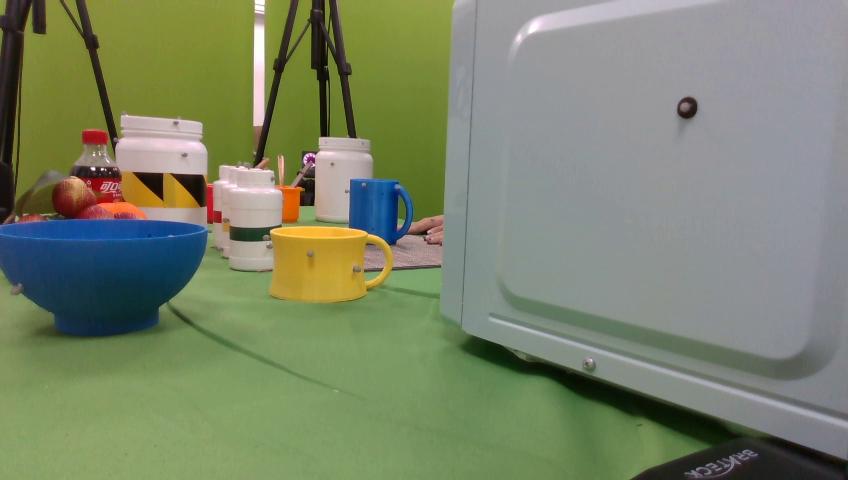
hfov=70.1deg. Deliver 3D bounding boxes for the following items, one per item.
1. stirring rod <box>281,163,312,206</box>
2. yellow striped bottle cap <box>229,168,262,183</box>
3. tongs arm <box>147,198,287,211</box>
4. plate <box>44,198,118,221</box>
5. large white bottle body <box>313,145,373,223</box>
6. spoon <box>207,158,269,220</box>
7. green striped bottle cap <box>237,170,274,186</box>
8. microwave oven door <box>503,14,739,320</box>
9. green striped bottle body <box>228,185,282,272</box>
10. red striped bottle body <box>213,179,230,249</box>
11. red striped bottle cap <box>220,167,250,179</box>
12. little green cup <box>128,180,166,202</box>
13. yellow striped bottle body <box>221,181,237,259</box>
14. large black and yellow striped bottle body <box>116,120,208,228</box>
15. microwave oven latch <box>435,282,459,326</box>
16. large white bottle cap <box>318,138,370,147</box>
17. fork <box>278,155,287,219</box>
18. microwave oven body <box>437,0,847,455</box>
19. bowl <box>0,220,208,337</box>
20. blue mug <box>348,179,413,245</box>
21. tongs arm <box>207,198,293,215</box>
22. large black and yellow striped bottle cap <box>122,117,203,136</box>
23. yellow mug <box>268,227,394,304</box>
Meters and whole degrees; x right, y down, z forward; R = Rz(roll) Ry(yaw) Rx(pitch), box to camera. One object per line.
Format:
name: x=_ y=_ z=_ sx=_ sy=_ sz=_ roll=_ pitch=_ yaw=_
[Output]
stirring rod: x=-0.292 y=-0.111 z=1.323 sx=0.014 sy=0.006 sz=0.176 roll=2 pitch=47 yaw=30
yellow striped bottle cap: x=-0.240 y=-0.087 z=0.816 sx=0.044 sy=0.018 sz=0.044 roll=-3 pitch=5 yaw=1
tongs arm: x=-0.504 y=-0.091 z=1.513 sx=0.028 sy=0.028 sz=0.389 roll=0 pitch=4 yaw=37
plate: x=-0.617 y=-0.056 z=1.179 sx=0.209 sy=0.038 sz=0.209 roll=3 pitch=7 yaw=0
large white bottle body: x=-0.182 y=-0.135 z=1.362 sx=0.131 sy=0.184 sz=0.130 roll=2 pitch=7 yaw=0
spoon: x=-0.380 y=-0.108 z=1.251 sx=0.041 sy=0.022 sz=0.194 roll=4 pitch=51 yaw=39
green striped bottle cap: x=-0.205 y=-0.075 z=0.737 sx=0.044 sy=0.020 sz=0.044 roll=1 pitch=6 yaw=0
microwave oven door: x=0.218 y=-0.065 z=0.600 sx=0.358 sy=0.243 sz=0.039 roll=-4 pitch=10 yaw=-41
green striped bottle body: x=-0.208 y=-0.023 z=0.745 sx=0.063 sy=0.119 sz=0.063 roll=2 pitch=7 yaw=0
red striped bottle body: x=-0.284 y=-0.048 z=0.909 sx=0.063 sy=0.119 sz=0.063 roll=3 pitch=10 yaw=0
red striped bottle cap: x=-0.281 y=-0.099 z=0.901 sx=0.044 sy=0.017 sz=0.044 roll=-1 pitch=4 yaw=0
little green cup: x=-0.485 y=-0.087 z=1.062 sx=0.061 sy=0.038 sz=0.061 roll=-1 pitch=6 yaw=0
yellow striped bottle body: x=-0.244 y=-0.036 z=0.823 sx=0.063 sy=0.120 sz=0.063 roll=2 pitch=8 yaw=0
large black and yellow striped bottle body: x=-0.404 y=-0.089 z=0.937 sx=0.131 sy=0.184 sz=0.130 roll=3 pitch=7 yaw=0
microwave oven latch: x=0.044 y=0.046 z=0.470 sx=0.079 sy=0.029 sz=0.030 roll=-3 pitch=8 yaw=-40
large white bottle cap: x=-0.179 y=-0.218 z=1.351 sx=0.115 sy=0.018 sz=0.115 roll=2 pitch=8 yaw=0
fork: x=-0.318 y=-0.120 z=1.342 sx=0.028 sy=0.018 sz=0.206 roll=-1 pitch=52 yaw=-13
microwave oven body: x=0.279 y=-0.040 z=0.464 sx=0.444 sy=0.260 sz=0.324 roll=-3 pitch=8 yaw=-41
bowl: x=-0.251 y=0.030 z=0.479 sx=0.151 sy=0.077 sz=0.151 roll=2 pitch=7 yaw=0
blue mug: x=-0.071 y=-0.047 z=1.002 sx=0.116 sy=0.106 sz=0.082 roll=7 pitch=9 yaw=26
tongs arm: x=-0.423 y=-0.084 z=1.472 sx=0.050 sy=0.026 sz=0.386 roll=2 pitch=6 yaw=21
large black and yellow striped bottle cap: x=-0.399 y=-0.174 z=0.927 sx=0.115 sy=0.019 sz=0.115 roll=5 pitch=9 yaw=-1
yellow mug: x=-0.094 y=0.023 z=0.630 sx=0.131 sy=0.064 sz=0.099 roll=0 pitch=7 yaw=-22
